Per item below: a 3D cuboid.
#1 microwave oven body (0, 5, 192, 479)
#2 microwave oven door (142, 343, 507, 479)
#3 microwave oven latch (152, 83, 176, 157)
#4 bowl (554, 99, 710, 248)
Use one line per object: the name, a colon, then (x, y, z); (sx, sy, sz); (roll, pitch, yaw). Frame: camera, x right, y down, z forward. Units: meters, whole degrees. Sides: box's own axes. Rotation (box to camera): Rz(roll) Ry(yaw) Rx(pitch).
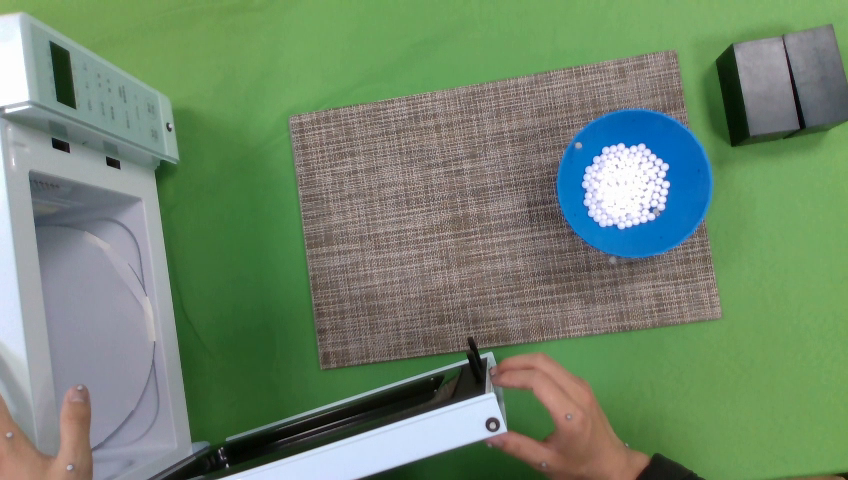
microwave oven body: (-0.436, 0.056, 0.606); (0.326, 0.260, 0.441); (-10, 87, 5)
microwave oven door: (-0.097, 0.181, 0.563); (0.356, 0.244, 0.039); (-20, 85, 4)
microwave oven latch: (-0.310, -0.138, 0.699); (0.030, 0.029, 0.079); (-11, 87, 5)
bowl: (0.210, -0.064, 0.639); (0.151, 0.077, 0.151); (0, 88, 6)
